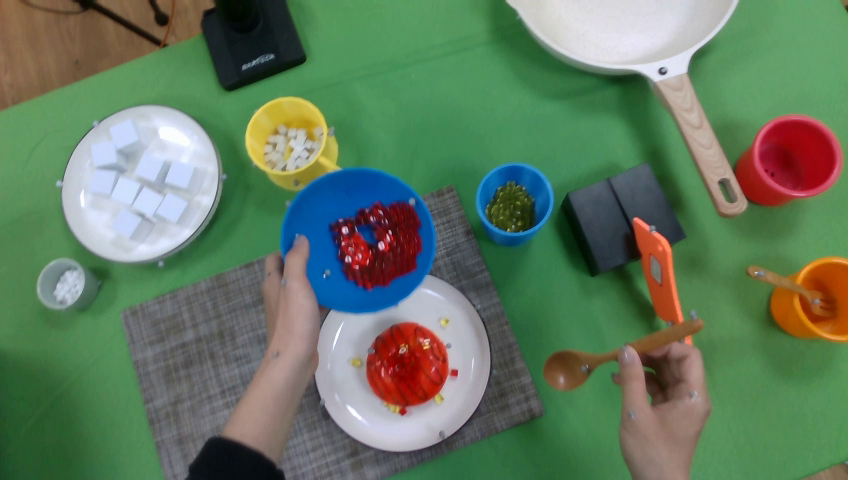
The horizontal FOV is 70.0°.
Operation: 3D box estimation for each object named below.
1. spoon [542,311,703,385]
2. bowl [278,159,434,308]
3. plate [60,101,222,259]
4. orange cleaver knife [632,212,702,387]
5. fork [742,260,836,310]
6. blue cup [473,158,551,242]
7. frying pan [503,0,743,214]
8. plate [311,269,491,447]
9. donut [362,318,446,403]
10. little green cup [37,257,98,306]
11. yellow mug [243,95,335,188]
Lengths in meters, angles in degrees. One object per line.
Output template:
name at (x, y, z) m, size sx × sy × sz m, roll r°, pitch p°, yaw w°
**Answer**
spoon at (0.177, 0.102, 0.564) m, size 0.022 × 0.194 × 0.041 m, roll -17°, pitch 77°, yaw -33°
bowl at (-0.069, 0.002, 0.618) m, size 0.152 × 0.077 × 0.150 m, roll 2°, pitch 74°, yaw -7°
plate at (-0.358, -0.075, 0.780) m, size 0.207 × 0.039 × 0.206 m, roll -1°, pitch 79°, yaw 4°
orange cleaver knife at (0.274, 0.069, 0.688) m, size 0.012 × 0.076 × 0.212 m, roll -22°, pitch 107°, yaw 0°
fork at (0.395, 0.048, 0.649) m, size 0.209 × 0.018 × 0.028 m, roll 17°, pitch 77°, yaw -37°
blue cup at (0.099, -0.038, 0.710) m, size 0.092 × 0.100 × 0.092 m, roll -1°, pitch 77°, yaw 3°
frying pan at (0.268, -0.249, 0.738) m, size 0.307 × 0.103 × 0.484 m, roll -16°, pitch 70°, yaw 2°
plate at (-0.027, 0.135, 0.714) m, size 0.209 × 0.038 × 0.208 m, roll -1°, pitch 79°, yaw 4°
donut at (-0.023, 0.140, 0.701) m, size 0.099 × 0.048 × 0.099 m, roll 0°, pitch 83°, yaw 3°
little green cup at (-0.444, 0.054, 0.759) m, size 0.061 × 0.039 × 0.061 m, roll 0°, pitch 79°, yaw 3°
yellow mug at (-0.155, -0.114, 0.760) m, size 0.130 × 0.064 × 0.100 m, roll 31°, pitch 83°, yaw 8°
